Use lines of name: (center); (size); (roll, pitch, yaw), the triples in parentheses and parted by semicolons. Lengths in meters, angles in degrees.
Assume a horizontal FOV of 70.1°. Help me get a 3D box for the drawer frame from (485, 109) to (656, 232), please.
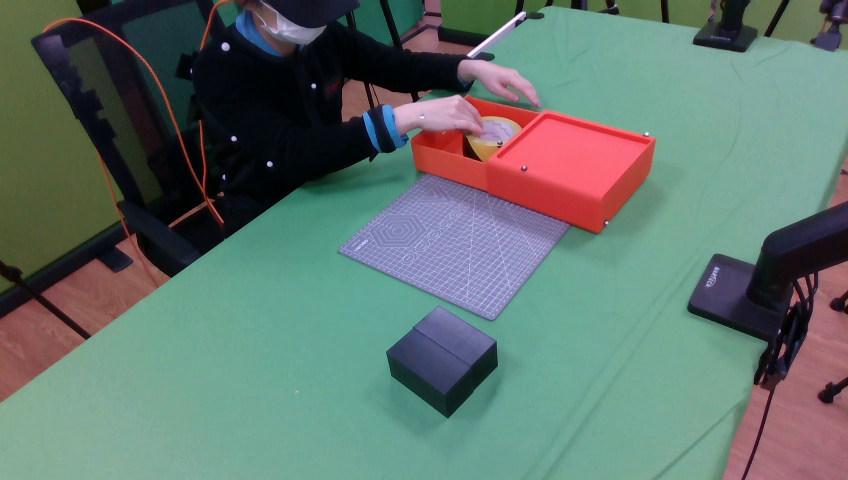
drawer frame: (0.247, -0.126, 1.029); (0.212, 0.083, 0.202); (24, 49, 30)

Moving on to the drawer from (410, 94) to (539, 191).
drawer: (0.116, -0.180, 1.118); (0.210, 0.073, 0.195); (22, 48, 31)

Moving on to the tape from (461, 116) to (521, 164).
tape: (0.125, -0.180, 1.117); (0.117, 0.053, 0.116); (-1, 38, 1)
